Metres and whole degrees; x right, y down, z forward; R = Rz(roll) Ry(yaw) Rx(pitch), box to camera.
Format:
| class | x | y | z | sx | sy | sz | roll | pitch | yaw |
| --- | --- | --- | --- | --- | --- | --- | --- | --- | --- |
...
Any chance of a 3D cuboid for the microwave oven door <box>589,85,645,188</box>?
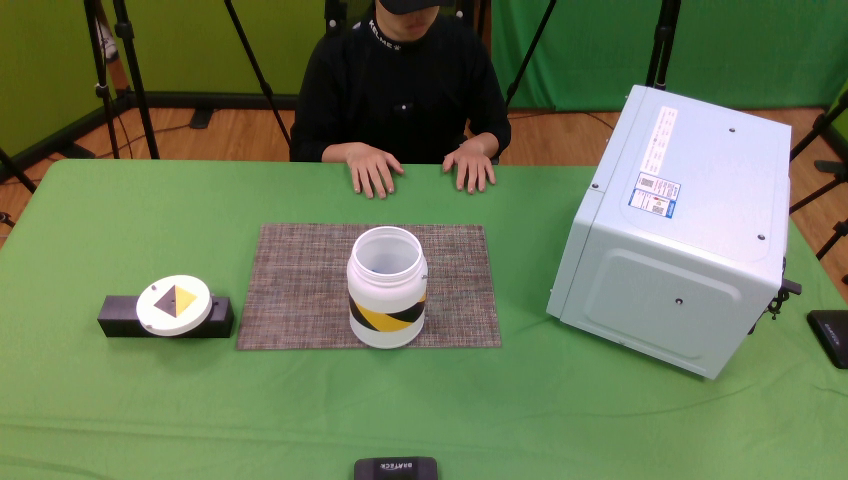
| class | x | y | z | sx | sy | sz | roll | pitch | yaw |
| --- | --- | --- | --- | --- | --- | --- | --- | --- | --- |
| microwave oven door | 0.341 | -0.107 | 1.149 | 0.039 | 0.245 | 0.354 | 20 | 48 | 15 |

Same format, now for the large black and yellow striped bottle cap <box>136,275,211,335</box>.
| class | x | y | z | sx | sy | sz | roll | pitch | yaw |
| --- | --- | --- | --- | --- | --- | --- | --- | --- | --- |
| large black and yellow striped bottle cap | -0.412 | 0.105 | 0.999 | 0.115 | 0.019 | 0.114 | 3 | 46 | -3 |

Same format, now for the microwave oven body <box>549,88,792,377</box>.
| class | x | y | z | sx | sy | sz | roll | pitch | yaw |
| --- | --- | --- | --- | --- | --- | --- | --- | --- | --- |
| microwave oven body | 0.456 | -0.028 | 1.088 | 0.325 | 0.261 | 0.440 | 20 | 47 | 16 |

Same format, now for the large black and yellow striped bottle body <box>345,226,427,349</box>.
| class | x | y | z | sx | sy | sz | roll | pitch | yaw |
| --- | --- | --- | --- | --- | --- | --- | --- | --- | --- |
| large black and yellow striped bottle body | -0.062 | 0.078 | 0.998 | 0.131 | 0.185 | 0.130 | 2 | 46 | -2 |

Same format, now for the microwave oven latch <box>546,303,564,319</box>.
| class | x | y | z | sx | sy | sz | roll | pitch | yaw |
| --- | --- | --- | --- | --- | --- | --- | --- | --- | --- |
| microwave oven latch | 0.242 | 0.102 | 1.081 | 0.030 | 0.029 | 0.079 | 21 | 48 | 17 |
